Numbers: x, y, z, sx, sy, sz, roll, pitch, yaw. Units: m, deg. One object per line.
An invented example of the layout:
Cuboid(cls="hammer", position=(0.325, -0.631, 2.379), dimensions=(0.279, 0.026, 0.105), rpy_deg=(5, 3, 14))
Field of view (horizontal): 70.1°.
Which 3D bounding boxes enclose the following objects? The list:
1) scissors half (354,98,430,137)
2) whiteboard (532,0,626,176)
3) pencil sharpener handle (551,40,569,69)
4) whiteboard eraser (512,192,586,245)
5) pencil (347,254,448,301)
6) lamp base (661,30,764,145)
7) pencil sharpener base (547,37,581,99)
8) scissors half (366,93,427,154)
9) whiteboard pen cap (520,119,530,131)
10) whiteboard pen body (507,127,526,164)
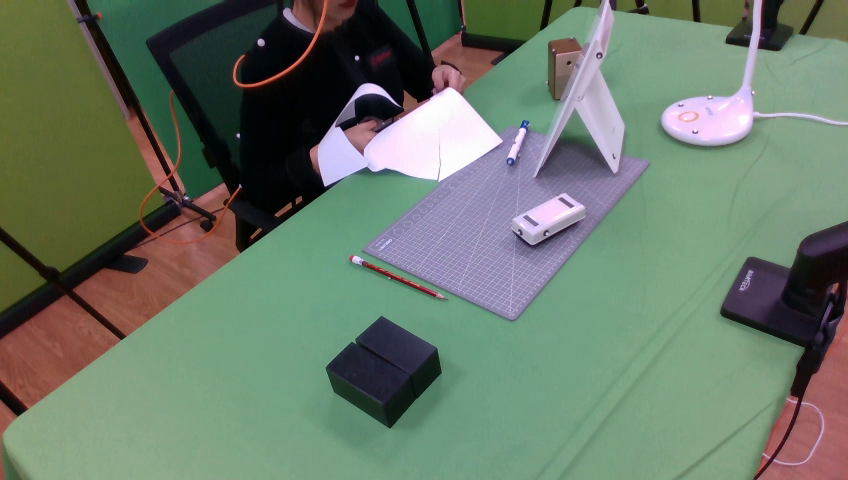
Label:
Cuboid(cls="scissors half", position=(-0.067, -0.257, 1.244), dimensions=(0.175, 0.040, 0.013), rpy_deg=(-19, 19, 15))
Cuboid(cls="whiteboard", position=(0.320, -0.258, 1.050), dimensions=(0.144, 0.306, 0.217), rpy_deg=(21, 45, 5))
Cuboid(cls="pencil sharpener handle", position=(0.291, -0.409, 1.320), dimensions=(0.036, 0.068, 0.030), rpy_deg=(2, 40, -6))
Cuboid(cls="whiteboard eraser", position=(0.199, -0.032, 0.962), dimensions=(0.113, 0.042, 0.055), rpy_deg=(-27, 43, -20))
Cuboid(cls="pencil", position=(-0.044, 0.058, 0.933), dimensions=(0.192, 0.012, 0.012), rpy_deg=(22, 49, 28))
Cuboid(cls="lamp base", position=(0.535, -0.287, 1.096), dimensions=(0.179, 0.181, 0.159), rpy_deg=(-10, 40, -4))
Cuboid(cls="pencil sharpener base", position=(0.299, -0.368, 1.290), dimensions=(0.061, 0.107, 0.076), rpy_deg=(-8, 40, 2))
Cuboid(cls="scissors half", position=(-0.054, -0.240, 1.249), dimensions=(0.175, 0.040, 0.013), rpy_deg=(-45, 6, 21))
Cuboid(cls="whiteboard pen cap", position=(0.200, -0.226, 1.204), dimensions=(0.018, 0.018, 0.033), rpy_deg=(6, 42, 18))
Cuboid(cls="whiteboard pen body", position=(0.181, -0.189, 1.163), dimensions=(0.017, 0.017, 0.140), rpy_deg=(7, 42, 19))
